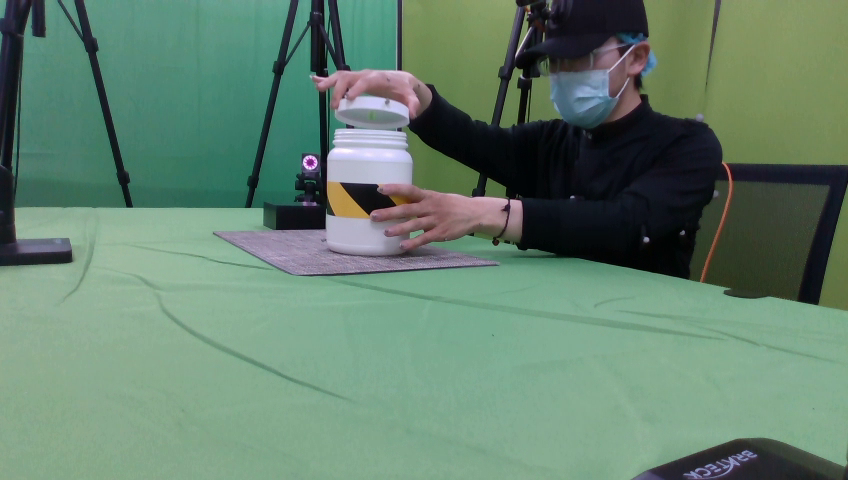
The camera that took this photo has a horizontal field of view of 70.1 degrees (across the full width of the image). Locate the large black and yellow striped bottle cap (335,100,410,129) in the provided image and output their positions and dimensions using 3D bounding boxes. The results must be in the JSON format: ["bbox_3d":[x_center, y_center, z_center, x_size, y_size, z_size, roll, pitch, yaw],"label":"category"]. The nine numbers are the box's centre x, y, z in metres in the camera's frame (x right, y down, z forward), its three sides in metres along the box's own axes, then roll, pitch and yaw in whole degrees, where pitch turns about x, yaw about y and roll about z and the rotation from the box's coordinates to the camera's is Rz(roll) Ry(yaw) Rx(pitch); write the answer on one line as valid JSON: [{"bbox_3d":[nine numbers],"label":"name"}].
[{"bbox_3d":[-0.078,-0.192,0.927,0.115,0.019,0.115,3,-2,0],"label":"large black and yellow striped bottle cap"}]

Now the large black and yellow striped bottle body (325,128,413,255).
[{"bbox_3d":[-0.083,-0.076,0.922,0.131,0.184,0.130,2,7,0],"label":"large black and yellow striped bottle body"}]
